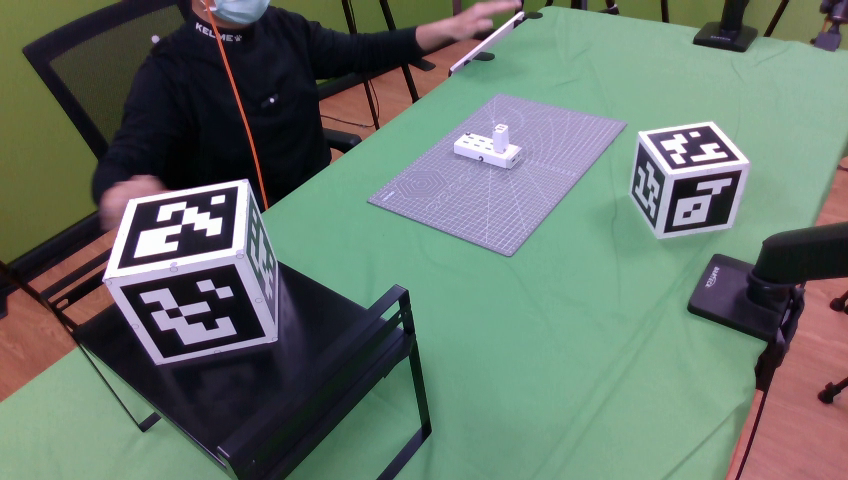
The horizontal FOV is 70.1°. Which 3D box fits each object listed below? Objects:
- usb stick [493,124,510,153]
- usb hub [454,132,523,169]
[{"bbox_3d":[0.142,-0.180,1.107,0.021,0.059,0.027,18,46,29],"label":"usb stick"},{"bbox_3d":[0.121,-0.170,1.144,0.124,0.025,0.049,22,48,29],"label":"usb hub"}]
